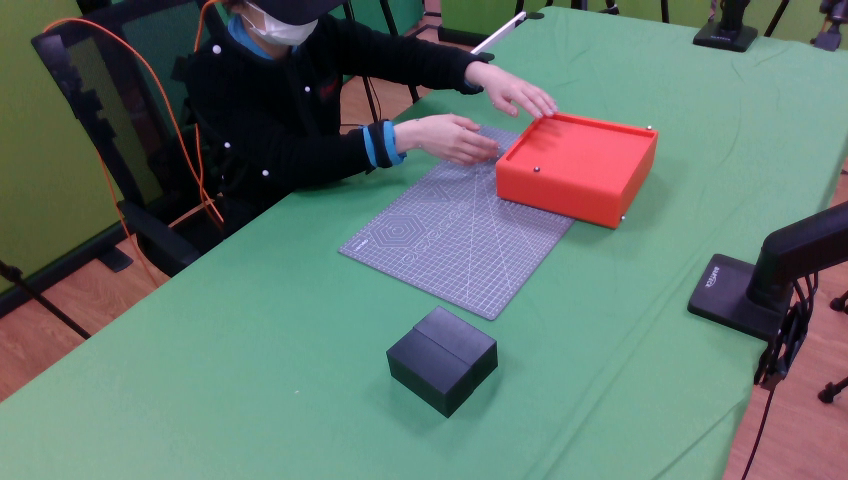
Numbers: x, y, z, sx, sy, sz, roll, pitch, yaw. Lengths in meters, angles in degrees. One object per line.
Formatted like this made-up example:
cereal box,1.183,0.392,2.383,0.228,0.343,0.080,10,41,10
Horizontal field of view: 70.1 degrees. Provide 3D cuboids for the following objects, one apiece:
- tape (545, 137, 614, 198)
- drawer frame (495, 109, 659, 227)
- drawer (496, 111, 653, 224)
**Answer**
tape,0.264,-0.124,1.037,0.117,0.053,0.116,-4,40,4
drawer frame,0.260,-0.130,1.031,0.212,0.083,0.202,18,46,26
drawer,0.257,-0.130,1.032,0.210,0.073,0.195,19,46,26
